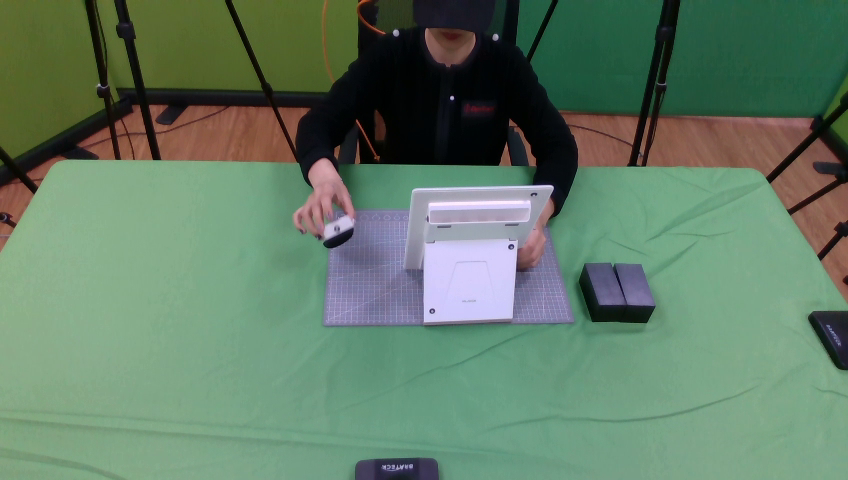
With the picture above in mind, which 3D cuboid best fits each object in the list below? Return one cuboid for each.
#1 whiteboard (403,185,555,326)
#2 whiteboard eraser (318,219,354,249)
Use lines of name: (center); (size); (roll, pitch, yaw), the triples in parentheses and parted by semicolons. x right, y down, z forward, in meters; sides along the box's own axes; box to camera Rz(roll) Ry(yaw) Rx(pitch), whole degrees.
whiteboard: (0.081, 0.044, 1.005); (0.217, 0.306, 0.143); (-1, 65, -5)
whiteboard eraser: (-0.158, -0.009, 1.084); (0.055, 0.112, 0.042); (-29, 95, -12)
